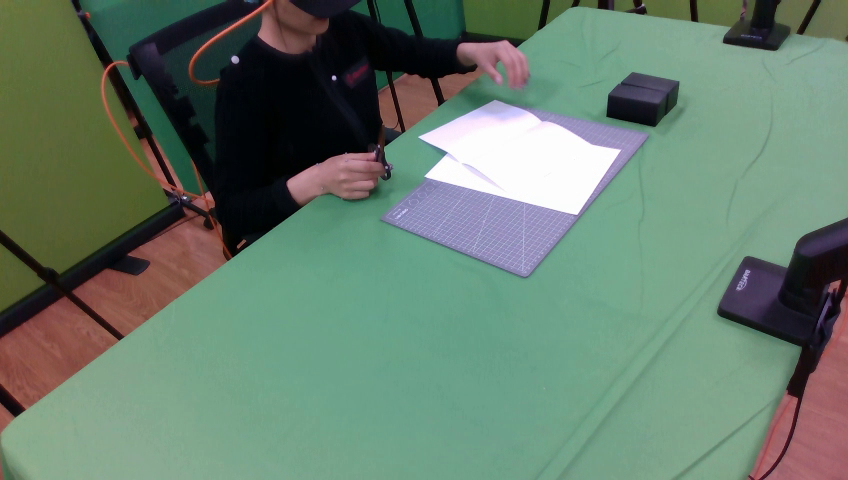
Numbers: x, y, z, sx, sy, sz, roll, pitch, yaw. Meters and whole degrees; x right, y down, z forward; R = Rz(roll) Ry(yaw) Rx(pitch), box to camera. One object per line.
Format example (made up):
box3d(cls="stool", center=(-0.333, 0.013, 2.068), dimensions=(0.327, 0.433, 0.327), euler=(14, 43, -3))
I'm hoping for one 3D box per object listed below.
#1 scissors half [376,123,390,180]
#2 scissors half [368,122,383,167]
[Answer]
box3d(cls="scissors half", center=(-0.072, -0.151, 1.044), dimensions=(0.013, 0.175, 0.040), euler=(-25, 68, -12))
box3d(cls="scissors half", center=(-0.082, -0.168, 1.049), dimensions=(0.013, 0.175, 0.040), euler=(-30, 85, -14))
